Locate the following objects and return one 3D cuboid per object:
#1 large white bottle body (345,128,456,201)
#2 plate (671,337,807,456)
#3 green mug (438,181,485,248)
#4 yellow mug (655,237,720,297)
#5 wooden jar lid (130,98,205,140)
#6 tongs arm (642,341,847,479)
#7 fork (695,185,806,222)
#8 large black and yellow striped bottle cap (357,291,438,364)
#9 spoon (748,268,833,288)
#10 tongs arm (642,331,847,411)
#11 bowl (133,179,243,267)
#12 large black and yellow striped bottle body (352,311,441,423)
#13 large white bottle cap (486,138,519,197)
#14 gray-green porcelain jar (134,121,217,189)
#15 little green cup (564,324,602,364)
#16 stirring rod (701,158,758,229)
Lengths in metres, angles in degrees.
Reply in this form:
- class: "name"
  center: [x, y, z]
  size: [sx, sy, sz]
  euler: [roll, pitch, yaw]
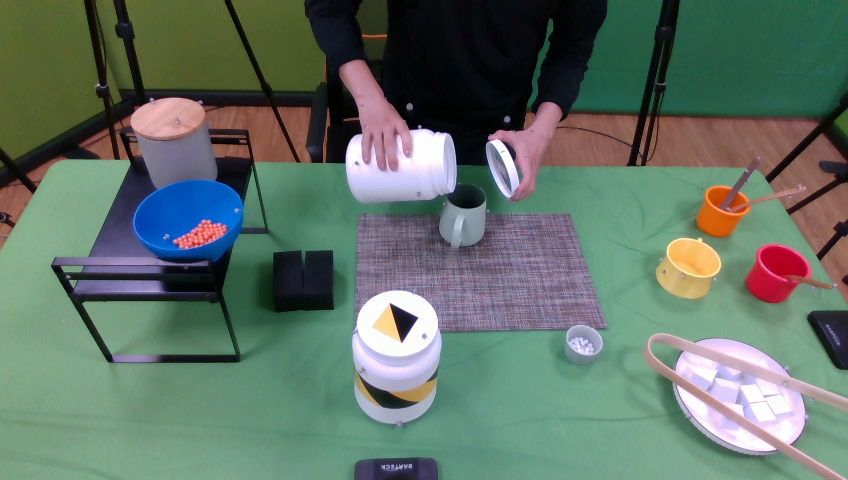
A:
- class: "large white bottle body"
  center: [-0.040, -0.140, 1.125]
  size: [0.184, 0.131, 0.130]
  euler: [-1, 45, 14]
- class: "plate"
  center: [0.504, 0.254, 0.984]
  size: [0.208, 0.039, 0.206]
  euler: [2, 46, -2]
- class: "green mug"
  center: [0.071, -0.039, 1.178]
  size: [0.092, 0.105, 0.124]
  euler: [12, 47, 7]
- class: "yellow mug"
  center: [0.509, 0.041, 1.167]
  size: [0.099, 0.064, 0.130]
  euler: [24, 48, 18]
- class: "wooden jar lid"
  center: [-0.393, -0.183, 0.934]
  size: [0.108, 0.021, 0.107]
  euler: [2, 43, -2]
- class: "tongs arm"
  center: [0.504, 0.278, 0.918]
  size: [0.386, 0.028, 0.028]
  euler: [34, 59, 22]
- class: "fork"
  center: [0.658, -0.074, 1.230]
  size: [0.207, 0.019, 0.028]
  euler: [-23, 36, 37]
- class: "large black and yellow striped bottle cap"
  center: [-0.037, 0.121, 0.851]
  size: [0.115, 0.019, 0.114]
  euler: [2, 46, -1]
- class: "spoon"
  center: [0.660, 0.068, 1.097]
  size: [0.041, 0.193, 0.021]
  euler: [-5, 91, -6]
- class: "tongs arm"
  center: [0.546, 0.227, 0.968]
  size: [0.384, 0.026, 0.050]
  euler: [22, 52, 13]
- class: "bowl"
  center: [-0.339, -0.013, 0.895]
  size: [0.151, 0.077, 0.150]
  euler: [2, 46, -2]
- class: "large black and yellow striped bottle body"
  center: [-0.042, 0.177, 0.913]
  size: [0.131, 0.185, 0.130]
  euler: [2, 46, -2]
- class: "large white bottle cap"
  center: [0.148, -0.138, 1.156]
  size: [0.018, 0.115, 0.114]
  euler: [-22, 51, -6]
- class: "gray-green porcelain jar"
  center: [-0.397, -0.141, 0.980]
  size: [0.106, 0.127, 0.105]
  euler: [2, 47, -2]
- class: "little green cup"
  center: [0.269, 0.179, 1.035]
  size: [0.061, 0.039, 0.061]
  euler: [2, 45, -2]
- class: "stirring rod"
  center: [0.634, -0.096, 1.257]
  size: [0.014, 0.006, 0.176]
  euler: [38, 97, 29]
